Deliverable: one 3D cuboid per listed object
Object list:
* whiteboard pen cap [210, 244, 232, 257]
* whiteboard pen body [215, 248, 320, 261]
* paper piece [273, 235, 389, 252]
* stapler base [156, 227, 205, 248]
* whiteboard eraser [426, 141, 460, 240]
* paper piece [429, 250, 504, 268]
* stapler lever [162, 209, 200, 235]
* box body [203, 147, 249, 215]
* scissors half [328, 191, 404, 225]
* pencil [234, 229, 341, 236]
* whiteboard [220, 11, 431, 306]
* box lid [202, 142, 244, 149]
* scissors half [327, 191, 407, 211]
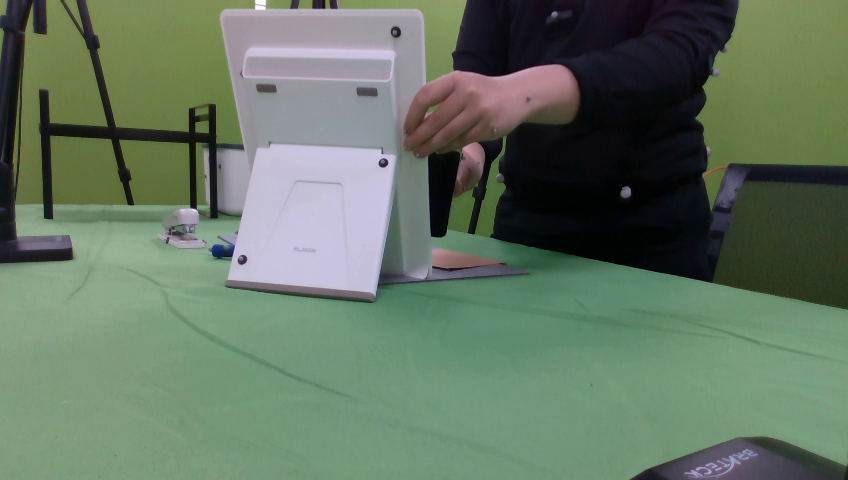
[{"bbox_3d":[-0.267,0.015,0.806,0.033,0.018,0.018,2,7,-1],"label":"whiteboard pen cap"},{"bbox_3d":[-0.208,0.019,0.804,0.141,0.017,0.017,1,7,1],"label":"whiteboard pen body"},{"bbox_3d":[-0.151,0.003,0.978,0.135,0.008,0.139,13,10,35],"label":"paper piece"},{"bbox_3d":[-0.376,-0.007,0.935,0.041,0.024,0.130,1,5,-38],"label":"stapler base"},{"bbox_3d":[0.005,-0.055,0.691,0.055,0.112,0.042,14,31,8],"label":"whiteboard eraser"},{"bbox_3d":[0.025,0.026,0.865,0.134,0.004,0.136,9,8,43],"label":"paper piece"},{"bbox_3d":[-0.376,-0.031,0.933,0.027,0.040,0.117,1,7,-38],"label":"stapler lever"},{"bbox_3d":[-0.347,-0.152,1.519,0.366,0.160,0.253,-2,9,-31],"label":"box body"},{"bbox_3d":[-0.127,-0.072,1.320,0.175,0.040,0.013,22,6,-6],"label":"scissors half"},{"bbox_3d":[-0.232,-0.012,1.053,0.195,0.012,0.012,0,8,-36],"label":"pencil"},{"bbox_3d":[-0.119,-0.064,0.619,0.217,0.305,0.144,5,29,13],"label":"whiteboard"},{"bbox_3d":[-0.345,-0.225,1.509,0.373,0.015,0.262,-2,8,-31],"label":"box lid"},{"bbox_3d":[-0.123,-0.092,1.316,0.175,0.040,0.013,6,13,-4],"label":"scissors half"}]
